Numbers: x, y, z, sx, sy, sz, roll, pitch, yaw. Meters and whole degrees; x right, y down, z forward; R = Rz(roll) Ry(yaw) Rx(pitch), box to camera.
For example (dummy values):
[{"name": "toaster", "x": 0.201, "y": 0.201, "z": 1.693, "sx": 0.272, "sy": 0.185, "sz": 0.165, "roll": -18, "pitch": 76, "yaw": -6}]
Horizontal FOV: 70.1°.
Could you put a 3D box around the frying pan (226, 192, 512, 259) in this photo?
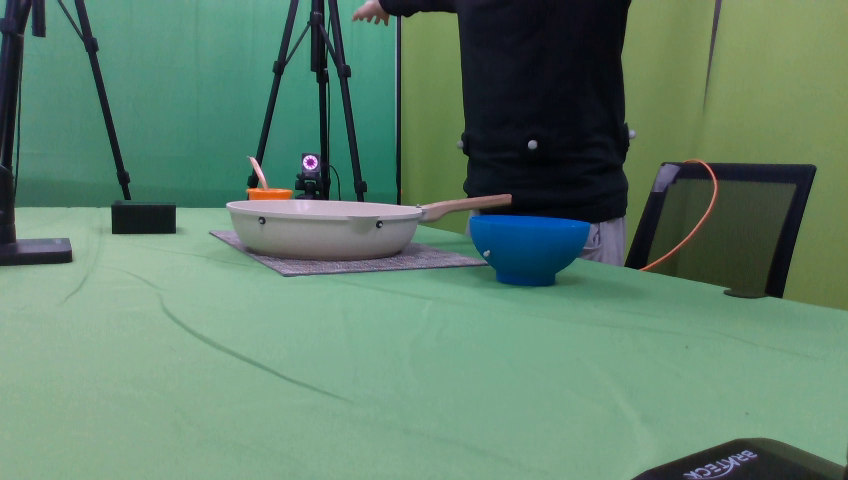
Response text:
[{"name": "frying pan", "x": -0.058, "y": -0.041, "z": 0.975, "sx": 0.490, "sy": 0.102, "sz": 0.305, "roll": -11, "pitch": 13, "yaw": -26}]

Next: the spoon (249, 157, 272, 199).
[{"name": "spoon", "x": -0.334, "y": -0.108, "z": 1.269, "sx": 0.042, "sy": 0.193, "sz": 0.021, "roll": 0, "pitch": -37, "yaw": -39}]

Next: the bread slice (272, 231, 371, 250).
[{"name": "bread slice", "x": -0.148, "y": 0.001, "z": 0.929, "sx": 0.133, "sy": 0.018, "sz": 0.107, "roll": 5, "pitch": 8, "yaw": 38}]

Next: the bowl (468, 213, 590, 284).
[{"name": "bowl", "x": 0.128, "y": 0.011, "z": 0.755, "sx": 0.151, "sy": 0.077, "sz": 0.151, "roll": 2, "pitch": 7, "yaw": 0}]
